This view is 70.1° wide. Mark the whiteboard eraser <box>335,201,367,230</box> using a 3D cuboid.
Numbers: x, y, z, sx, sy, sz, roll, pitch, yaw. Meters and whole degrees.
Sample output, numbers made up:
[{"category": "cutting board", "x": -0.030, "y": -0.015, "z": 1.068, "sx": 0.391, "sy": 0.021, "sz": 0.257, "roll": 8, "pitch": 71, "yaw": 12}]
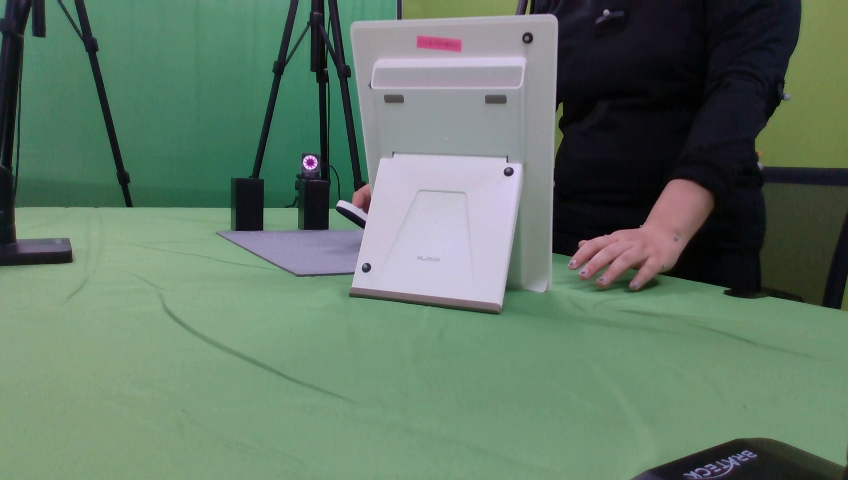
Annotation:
[{"category": "whiteboard eraser", "x": -0.100, "y": -0.032, "z": 0.969, "sx": 0.102, "sy": 0.019, "sz": 0.041, "roll": 36, "pitch": -15, "yaw": -37}]

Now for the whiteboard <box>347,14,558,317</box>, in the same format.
[{"category": "whiteboard", "x": 0.012, "y": -0.056, "z": 0.609, "sx": 0.216, "sy": 0.305, "sz": 0.144, "roll": 5, "pitch": 27, "yaw": 19}]
